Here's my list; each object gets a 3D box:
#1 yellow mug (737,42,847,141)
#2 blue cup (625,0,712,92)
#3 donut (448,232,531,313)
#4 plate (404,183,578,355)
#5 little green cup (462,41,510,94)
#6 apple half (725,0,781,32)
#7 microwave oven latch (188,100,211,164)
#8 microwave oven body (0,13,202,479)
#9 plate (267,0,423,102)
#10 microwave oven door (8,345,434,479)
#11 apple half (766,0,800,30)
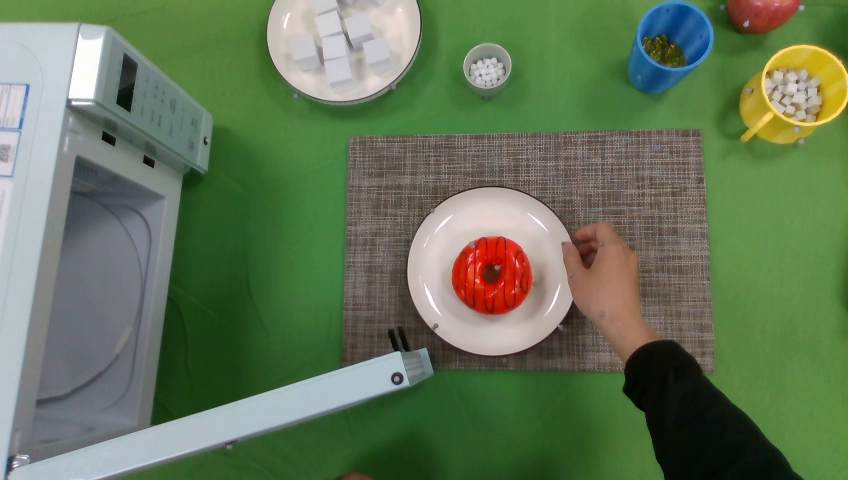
[{"bbox_3d":[0.431,-0.167,0.729,0.131,0.064,0.099,-42,80,-1],"label":"yellow mug"},{"bbox_3d":[0.286,-0.226,0.734,0.092,0.100,0.092,-1,82,4],"label":"blue cup"},{"bbox_3d":[0.079,0.039,0.727,0.099,0.048,0.099,-1,83,6],"label":"donut"},{"bbox_3d":[0.081,0.034,0.739,0.209,0.038,0.208,-1,81,5],"label":"plate"},{"bbox_3d":[0.080,-0.221,0.783,0.061,0.039,0.061,-1,81,5],"label":"little green cup"},{"bbox_3d":[0.403,-0.301,0.749,0.053,0.075,0.080,5,85,9],"label":"apple half"},{"bbox_3d":[-0.296,-0.140,0.784,0.030,0.029,0.079,4,82,5],"label":"microwave oven latch"},{"bbox_3d":[-0.464,0.011,0.678,0.326,0.261,0.440,3,82,5],"label":"microwave oven body"},{"bbox_3d":[-0.103,-0.279,0.808,0.207,0.039,0.207,-1,81,5],"label":"plate"},{"bbox_3d":[-0.173,0.176,0.621,0.356,0.245,0.039,-18,79,2],"label":"microwave oven door"},{"bbox_3d":[0.442,-0.298,0.744,0.033,0.081,0.081,6,81,10],"label":"apple half"}]
